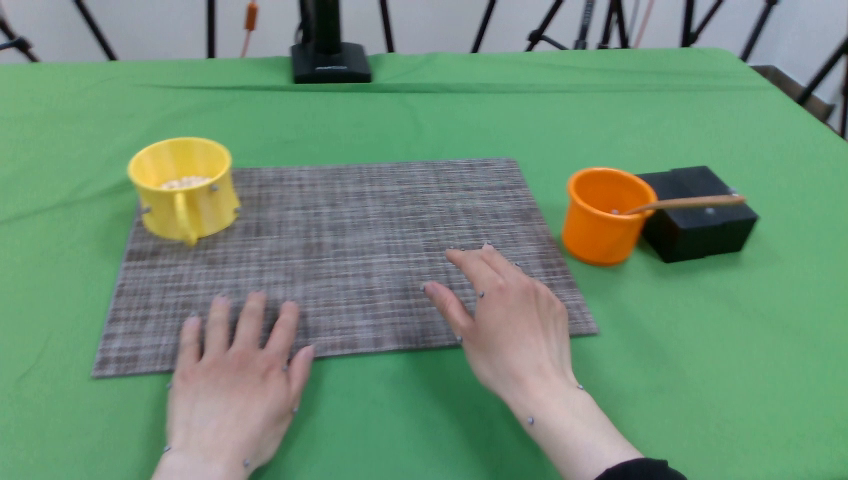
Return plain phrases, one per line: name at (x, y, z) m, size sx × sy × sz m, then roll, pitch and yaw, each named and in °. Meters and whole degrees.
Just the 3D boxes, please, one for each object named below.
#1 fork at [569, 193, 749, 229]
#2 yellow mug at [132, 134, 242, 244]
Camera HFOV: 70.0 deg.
fork at (0.224, -0.029, 0.606) m, size 0.028 × 0.018 × 0.206 m, roll -27°, pitch 6°, yaw -29°
yellow mug at (-0.246, -0.049, 0.637) m, size 0.100 × 0.064 × 0.129 m, roll -8°, pitch 44°, yaw -15°
